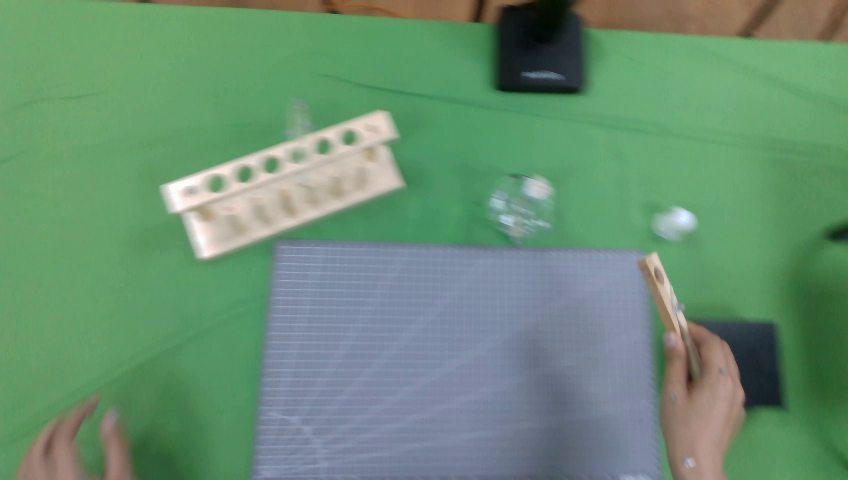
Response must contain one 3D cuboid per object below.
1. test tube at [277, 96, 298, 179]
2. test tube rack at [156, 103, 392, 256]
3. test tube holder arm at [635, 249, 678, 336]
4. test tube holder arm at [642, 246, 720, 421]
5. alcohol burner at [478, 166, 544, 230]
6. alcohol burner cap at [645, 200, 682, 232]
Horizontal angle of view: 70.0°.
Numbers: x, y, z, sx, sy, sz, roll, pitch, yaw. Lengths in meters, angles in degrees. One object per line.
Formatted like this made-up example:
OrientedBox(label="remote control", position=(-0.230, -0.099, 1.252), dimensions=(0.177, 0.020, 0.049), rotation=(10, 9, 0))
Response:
OrientedBox(label="test tube", position=(-0.144, -0.103, 0.640), dimensions=(0.017, 0.151, 0.017), rotation=(4, 68, -9))
OrientedBox(label="test tube rack", position=(-0.158, -0.067, 0.680), dimensions=(0.242, 0.085, 0.066), rotation=(-23, 78, -11))
OrientedBox(label="test tube holder arm", position=(0.225, 0.051, 0.581), dimensions=(0.010, 0.015, 0.088), rotation=(-22, 90, -19))
OrientedBox(label="test tube holder arm", position=(0.247, 0.090, 0.583), dimensions=(0.013, 0.015, 0.178), rotation=(-23, 91, -19))
OrientedBox(label="alcohol burner", position=(0.104, -0.053, 0.692), dimensions=(0.078, 0.119, 0.077), rotation=(2, 76, -7))
OrientedBox(label="alcohol burner cap", position=(0.297, -0.032, 0.744), dimensions=(0.034, 0.048, 0.033), rotation=(1, 75, -4))
